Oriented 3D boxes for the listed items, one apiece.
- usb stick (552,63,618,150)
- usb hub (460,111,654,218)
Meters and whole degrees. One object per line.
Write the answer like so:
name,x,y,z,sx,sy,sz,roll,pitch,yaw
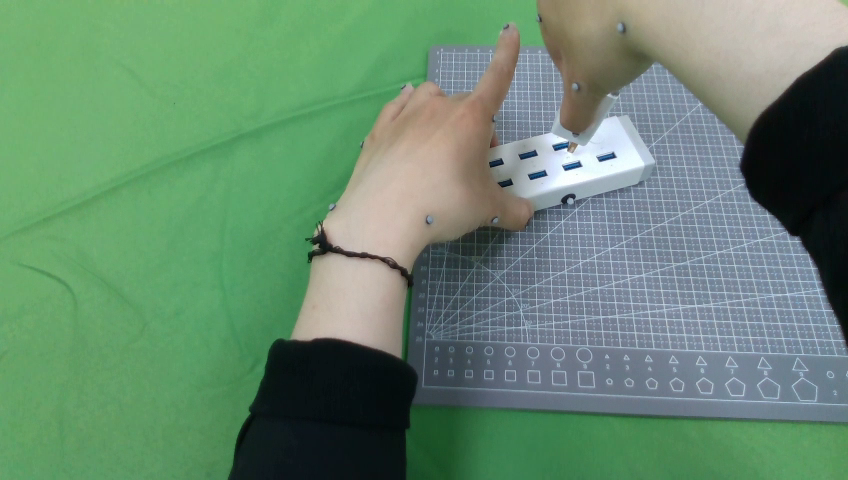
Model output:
usb stick,0.099,-0.082,0.386,0.027,0.059,0.021,11,56,-3
usb hub,0.092,-0.055,0.425,0.125,0.025,0.049,-14,62,-8
